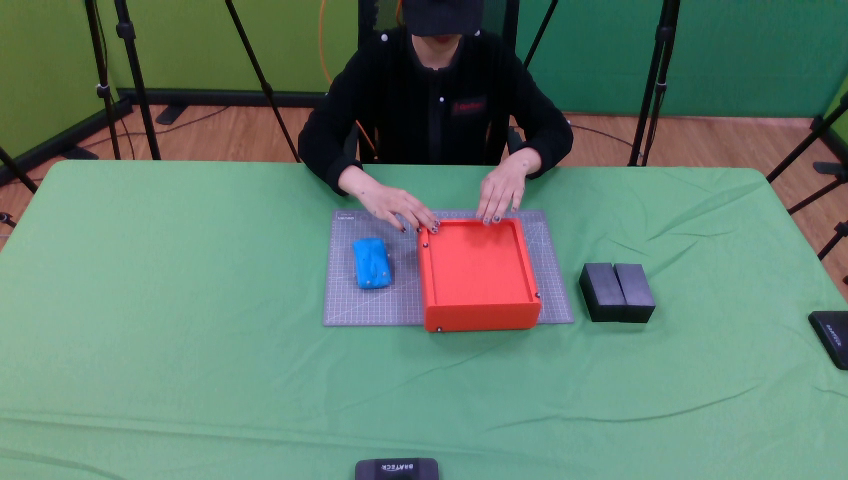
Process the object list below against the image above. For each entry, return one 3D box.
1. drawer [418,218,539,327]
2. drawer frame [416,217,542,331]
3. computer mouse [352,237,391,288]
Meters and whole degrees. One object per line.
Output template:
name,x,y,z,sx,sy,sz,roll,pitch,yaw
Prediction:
drawer,0.092,0.056,1.108,0.195,0.073,0.210,0,47,-5
drawer frame,0.093,0.056,1.106,0.202,0.083,0.212,-1,47,-6
computer mouse,-0.100,0.039,1.139,0.063,0.041,0.116,-5,51,-11
